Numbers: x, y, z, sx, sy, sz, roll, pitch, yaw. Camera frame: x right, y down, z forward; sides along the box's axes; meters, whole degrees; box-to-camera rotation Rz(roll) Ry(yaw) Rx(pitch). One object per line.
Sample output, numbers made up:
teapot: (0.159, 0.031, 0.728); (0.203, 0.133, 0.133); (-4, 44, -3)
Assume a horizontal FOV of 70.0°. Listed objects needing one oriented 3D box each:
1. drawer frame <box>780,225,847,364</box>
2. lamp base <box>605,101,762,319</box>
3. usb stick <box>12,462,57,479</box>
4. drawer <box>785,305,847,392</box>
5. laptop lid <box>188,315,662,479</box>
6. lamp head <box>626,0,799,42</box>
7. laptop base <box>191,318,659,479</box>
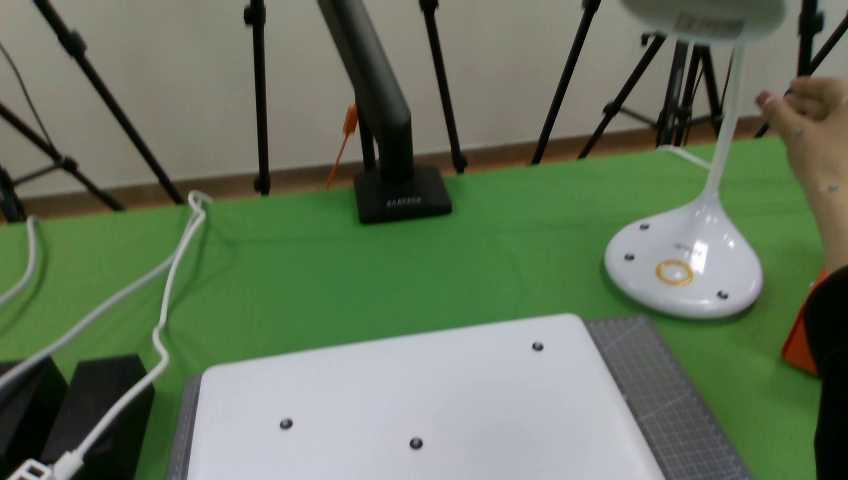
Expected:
drawer frame: (0.465, 0.071, 0.545); (0.200, 0.083, 0.213); (25, 44, 32)
lamp base: (0.282, -0.040, 0.619); (0.159, 0.182, 0.178); (17, 39, 24)
usb stick: (-0.267, 0.182, 0.421); (0.021, 0.059, 0.027); (19, 40, 11)
drawer: (0.465, 0.074, 0.543); (0.193, 0.074, 0.211); (25, 44, 33)
laptop lid: (-0.005, 0.165, 0.476); (0.357, 0.013, 0.239); (-6, 40, -5)
lamp head: (0.203, -0.207, 0.397); (0.111, 0.113, 0.122); (22, 82, 29)
laptop base: (-0.005, 0.173, 0.485); (0.355, 0.023, 0.233); (-7, 41, -7)
